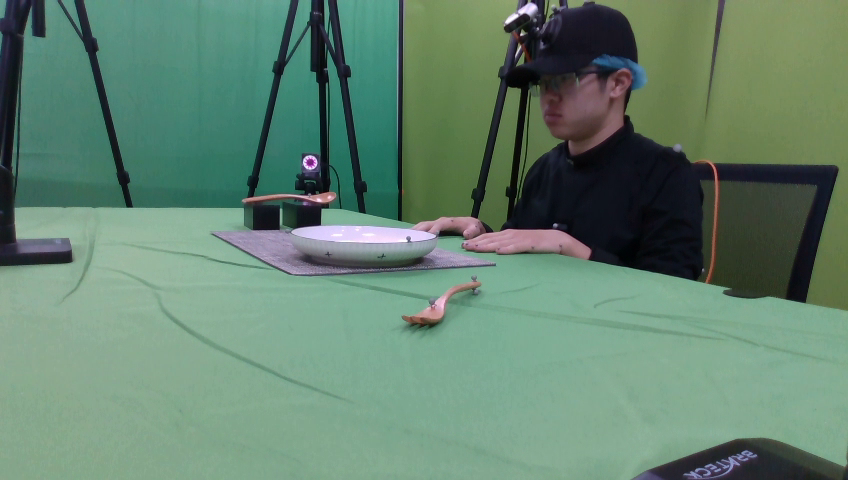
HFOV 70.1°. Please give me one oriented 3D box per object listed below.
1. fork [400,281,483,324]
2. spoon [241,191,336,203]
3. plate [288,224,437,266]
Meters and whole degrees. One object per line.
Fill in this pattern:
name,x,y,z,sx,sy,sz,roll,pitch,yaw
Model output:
fork,0.025,0.057,0.590,0.028,0.018,0.208,-2,7,21
spoon,-0.271,-0.086,1.225,0.195,0.021,0.041,-2,31,-31
plate,-0.086,0.007,0.852,0.208,0.039,0.207,2,7,0
